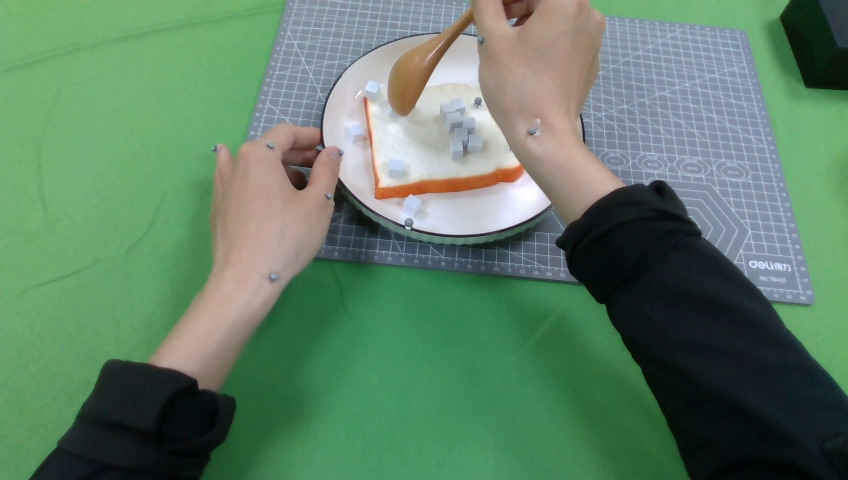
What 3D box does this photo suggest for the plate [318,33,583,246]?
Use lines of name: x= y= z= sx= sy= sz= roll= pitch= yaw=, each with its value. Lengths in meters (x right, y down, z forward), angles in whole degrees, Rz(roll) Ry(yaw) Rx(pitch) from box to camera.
plate: x=0.021 y=-0.081 z=0.488 sx=0.209 sy=0.038 sz=0.207 roll=2 pitch=60 yaw=-3

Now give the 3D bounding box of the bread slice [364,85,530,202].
bread slice: x=0.019 y=-0.085 z=0.493 sx=0.132 sy=0.019 sz=0.104 roll=-8 pitch=62 yaw=-6

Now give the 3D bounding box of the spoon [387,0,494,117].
spoon: x=0.029 y=-0.155 z=0.414 sx=0.022 sy=0.194 sz=0.041 roll=7 pitch=53 yaw=-45
